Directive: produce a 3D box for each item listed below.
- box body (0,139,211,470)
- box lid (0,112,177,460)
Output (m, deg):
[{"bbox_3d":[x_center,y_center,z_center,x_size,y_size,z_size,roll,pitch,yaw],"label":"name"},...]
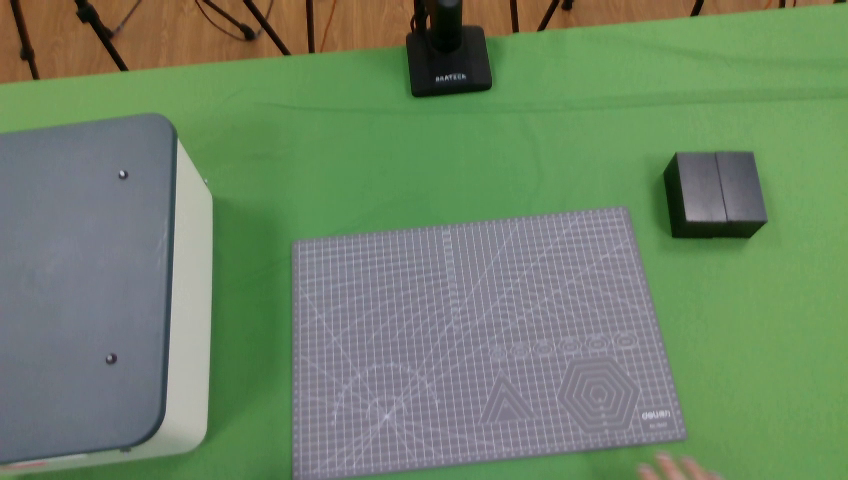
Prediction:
[{"bbox_3d":[-0.390,0.064,0.693,0.254,0.161,0.361,-7,66,-2],"label":"box body"},{"bbox_3d":[-0.392,0.031,0.627,0.263,0.015,0.368,-7,67,-2],"label":"box lid"}]
